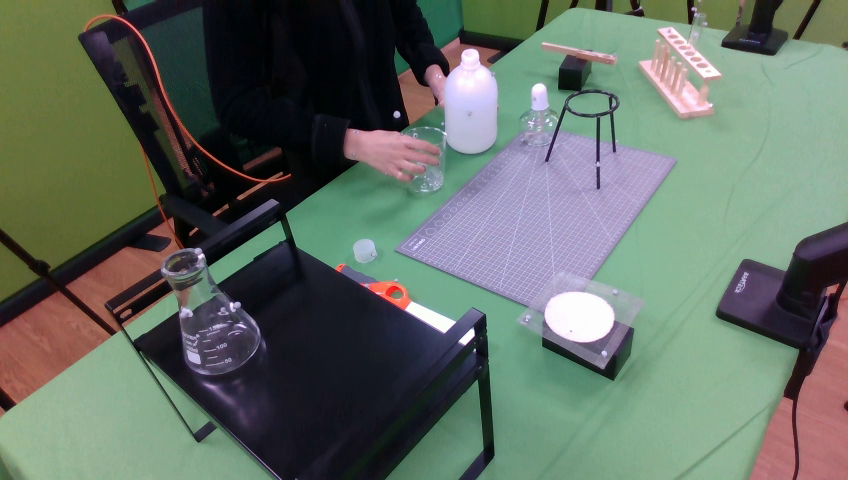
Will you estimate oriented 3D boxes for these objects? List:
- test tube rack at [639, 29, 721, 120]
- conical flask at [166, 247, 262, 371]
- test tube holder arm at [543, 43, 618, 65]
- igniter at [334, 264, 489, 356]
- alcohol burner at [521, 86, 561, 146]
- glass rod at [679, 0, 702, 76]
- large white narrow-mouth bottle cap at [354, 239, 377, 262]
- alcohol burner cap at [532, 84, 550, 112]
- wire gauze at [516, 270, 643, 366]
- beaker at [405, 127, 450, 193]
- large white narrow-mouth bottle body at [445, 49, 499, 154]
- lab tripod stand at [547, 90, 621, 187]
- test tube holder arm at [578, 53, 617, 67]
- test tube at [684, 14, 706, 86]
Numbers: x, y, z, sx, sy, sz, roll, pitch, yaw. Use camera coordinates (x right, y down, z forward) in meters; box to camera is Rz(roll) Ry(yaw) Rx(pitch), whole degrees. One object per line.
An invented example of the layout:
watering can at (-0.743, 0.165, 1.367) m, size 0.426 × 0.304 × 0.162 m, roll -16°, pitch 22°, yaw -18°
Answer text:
test tube rack at (0.527, -0.351, 1.262) m, size 0.067 × 0.085 × 0.241 m, roll -8°, pitch 40°, yaw 1°
conical flask at (-0.209, 0.064, 0.584) m, size 0.075 × 0.122 × 0.075 m, roll -5°, pitch 41°, yaw 4°
test tube holder arm at (0.344, -0.413, 1.340) m, size 0.177 × 0.015 × 0.013 m, roll 25°, pitch 51°, yaw 31°
igniter at (-0.030, 0.095, 0.871) m, size 0.274 × 0.025 × 0.057 m, roll 22°, pitch 59°, yaw 31°
alcohol burner at (0.223, -0.241, 1.155) m, size 0.078 × 0.119 × 0.077 m, roll -5°, pitch 43°, yaw 5°
glass rod at (0.543, -0.417, 1.233) m, size 0.008 × 0.200 × 0.008 m, roll 1°, pitch 40°, yaw 0°
large white narrow-mouth bottle cap at (-0.095, 0.017, 0.981) m, size 0.038 × 0.024 × 0.037 m, roll -4°, pitch 40°, yaw 4°
alcohol burner cap at (0.218, -0.269, 1.133) m, size 0.034 × 0.048 × 0.033 m, roll -8°, pitch 36°, yaw 7°
wire gauze at (0.200, 0.093, 0.777) m, size 0.124 × 0.011 × 0.122 m, roll 23°, pitch 49°, yaw 32°
beaker at (0.008, -0.143, 1.087) m, size 0.084 × 0.100 × 0.073 m, roll -15°, pitch 40°, yaw -21°
large white narrow-mouth bottle body at (0.090, -0.264, 1.134) m, size 0.102 × 0.195 × 0.101 m, roll -2°, pitch 48°, yaw 3°
lab tripod stand at (0.288, -0.184, 1.062) m, size 0.148 × 0.132 × 0.147 m, roll -6°, pitch 41°, yaw 6°
test tube holder arm at (0.376, -0.393, 1.314) m, size 0.087 × 0.015 × 0.010 m, roll 26°, pitch 51°, yaw 32°
test tube at (0.540, -0.378, 1.215) m, size 0.017 × 0.151 × 0.017 m, roll -2°, pitch 44°, yaw 3°
